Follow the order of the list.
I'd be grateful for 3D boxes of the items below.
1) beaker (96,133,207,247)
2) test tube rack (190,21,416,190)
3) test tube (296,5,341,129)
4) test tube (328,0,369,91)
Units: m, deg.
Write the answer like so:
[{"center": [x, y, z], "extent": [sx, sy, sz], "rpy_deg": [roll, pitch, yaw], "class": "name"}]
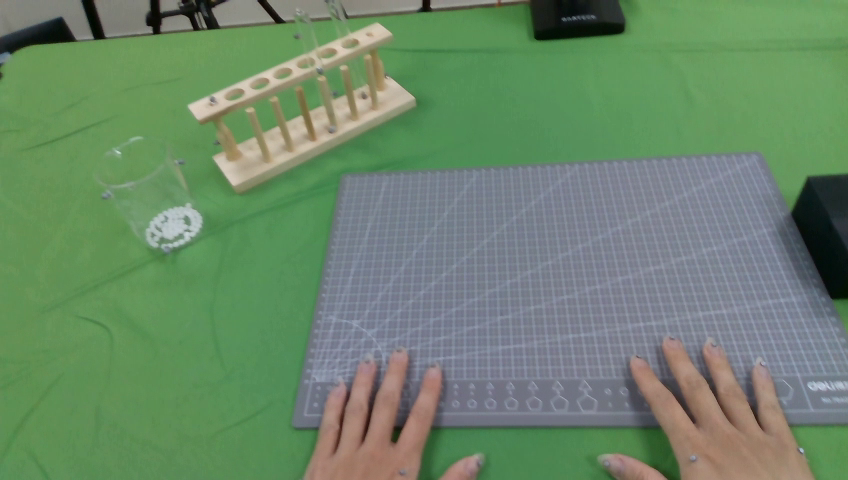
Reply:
[{"center": [-0.274, -0.049, 0.618], "extent": [0.083, 0.101, 0.074], "rpy_deg": [31, 60, 30], "class": "beaker"}, {"center": [-0.132, -0.159, 0.704], "extent": [0.242, 0.086, 0.066], "rpy_deg": [-30, 52, -17], "class": "test tube rack"}, {"center": [-0.114, -0.185, 0.664], "extent": [0.017, 0.152, 0.017], "rpy_deg": [-4, 48, 5], "class": "test tube"}, {"center": [-0.089, -0.235, 0.698], "extent": [0.017, 0.152, 0.017], "rpy_deg": [-7, 50, 8], "class": "test tube"}]
